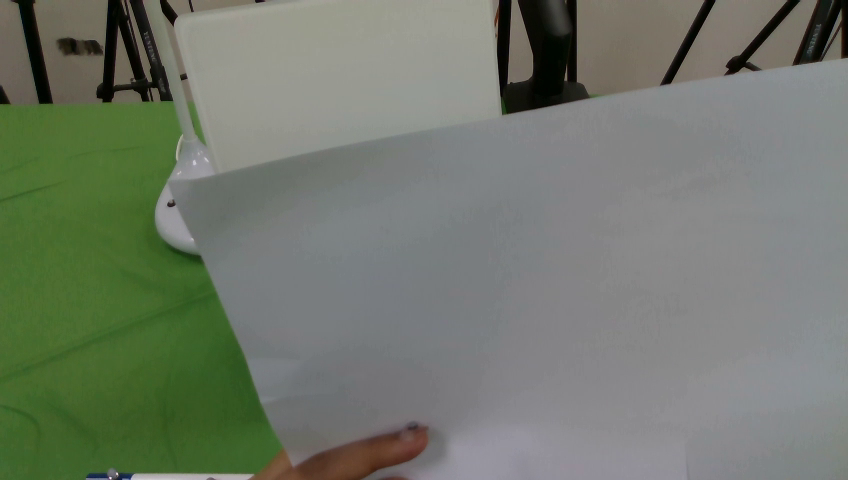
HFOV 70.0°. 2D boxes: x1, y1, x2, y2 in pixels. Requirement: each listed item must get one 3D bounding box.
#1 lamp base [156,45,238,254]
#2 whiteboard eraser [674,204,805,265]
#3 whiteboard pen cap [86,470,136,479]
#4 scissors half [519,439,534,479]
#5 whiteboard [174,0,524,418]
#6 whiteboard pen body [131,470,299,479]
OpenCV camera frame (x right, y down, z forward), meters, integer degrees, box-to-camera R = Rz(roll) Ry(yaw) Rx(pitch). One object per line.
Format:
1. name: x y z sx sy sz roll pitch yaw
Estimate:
1. lamp base: -0.227 -0.103 0.638 0.177 0.182 0.160 27 48 32
2. whiteboard eraser: 0.320 -0.004 0.619 0.113 0.042 0.055 -7 42 -7
3. whiteboard pen cap: -0.220 0.172 0.430 0.033 0.018 0.018 0 40 -3
4. scissors half: 0.067 0.174 0.263 0.013 0.040 0.174 -15 77 -2
5. whiteboard: -0.054 -0.045 0.516 0.218 0.307 0.142 -15 23 -15
6. whiteboard pen body: -0.161 0.172 0.431 0.141 0.017 0.017 1 40 -1
